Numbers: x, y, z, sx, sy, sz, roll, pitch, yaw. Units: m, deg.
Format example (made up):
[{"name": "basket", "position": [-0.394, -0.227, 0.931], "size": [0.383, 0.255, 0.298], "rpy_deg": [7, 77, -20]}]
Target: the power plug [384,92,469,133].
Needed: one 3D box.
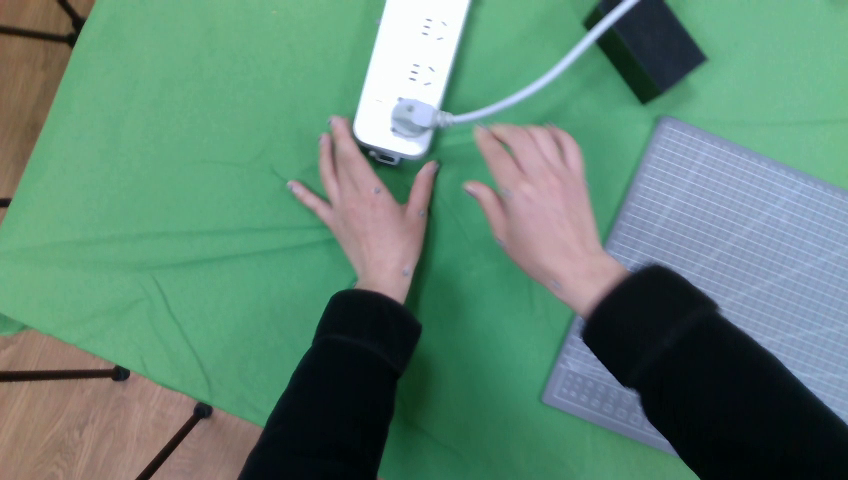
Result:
[{"name": "power plug", "position": [-0.001, -0.107, 0.545], "size": [0.072, 0.052, 0.035], "rpy_deg": [27, 90, -3]}]

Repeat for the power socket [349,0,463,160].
[{"name": "power socket", "position": [-0.011, -0.187, 0.562], "size": [0.072, 0.032, 0.226], "rpy_deg": [16, 90, -2]}]
